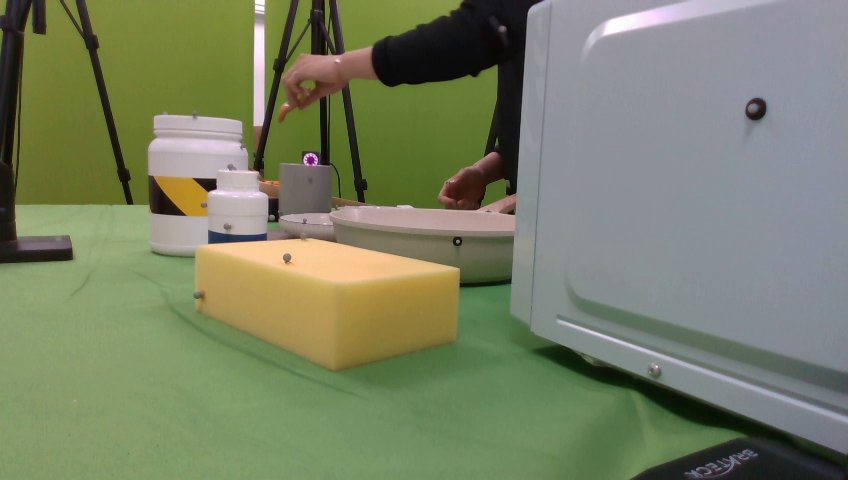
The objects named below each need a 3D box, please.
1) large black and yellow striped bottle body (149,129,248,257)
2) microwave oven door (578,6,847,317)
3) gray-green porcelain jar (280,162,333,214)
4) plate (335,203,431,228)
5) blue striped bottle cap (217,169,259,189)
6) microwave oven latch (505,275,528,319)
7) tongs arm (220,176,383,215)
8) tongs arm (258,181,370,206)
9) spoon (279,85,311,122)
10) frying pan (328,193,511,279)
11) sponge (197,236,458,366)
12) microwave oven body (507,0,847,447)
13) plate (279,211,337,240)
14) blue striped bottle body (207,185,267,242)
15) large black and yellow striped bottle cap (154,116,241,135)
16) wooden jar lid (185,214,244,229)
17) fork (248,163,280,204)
[{"bbox_3d":[-0.315,-0.075,0.854,0.131,0.184,0.130,1,8,0],"label":"large black and yellow striped bottle body"},{"bbox_3d":[0.294,-0.067,0.570,0.358,0.243,0.039,-3,9,-31],"label":"microwave oven door"},{"bbox_3d":[-0.238,-0.092,1.221,0.106,0.126,0.106,2,7,0],"label":"gray-green porcelain jar"},{"bbox_3d":[-0.089,-0.053,1.309,0.208,0.039,0.207,2,8,0],"label":"plate"},{"bbox_3d":[-0.202,-0.067,0.657,0.044,0.020,0.044,0,10,0],"label":"blue striped bottle cap"},{"bbox_3d":[0.100,0.041,0.471,0.079,0.029,0.030,-1,7,-28],"label":"microwave oven latch"},{"bbox_3d":[-0.285,-0.104,1.445,0.389,0.027,0.028,9,-4,-23],"label":"tongs arm"},{"bbox_3d":[-0.241,-0.095,1.373,0.387,0.026,0.050,9,0,-37],"label":"tongs arm"},{"bbox_3d":[-0.238,-0.255,1.123,0.022,0.041,0.193,27,-16,-26],"label":"spoon"},{"bbox_3d":[0.071,-0.030,0.883,0.305,0.102,0.490,7,17,28],"label":"frying pan"},{"bbox_3d":[-0.087,0.039,0.500,0.206,0.061,0.119,8,9,44],"label":"sponge"},{"bbox_3d":[0.331,-0.042,0.425,0.444,0.260,0.324,-2,8,-31],"label":"microwave oven body"},{"bbox_3d":[-0.139,-0.022,1.021,0.209,0.038,0.209,2,8,0],"label":"plate"},{"bbox_3d":[-0.204,-0.016,0.663,0.063,0.120,0.063,2,7,0],"label":"blue striped bottle body"},{"bbox_3d":[-0.314,-0.158,0.843,0.115,0.019,0.115,3,7,0],"label":"large black and yellow striped bottle cap"},{"bbox_3d":[-0.404,-0.037,1.169,0.108,0.020,0.108,3,7,0],"label":"wooden jar lid"},{"bbox_3d":[-0.396,-0.143,1.486,0.028,0.018,0.208,21,-25,45],"label":"fork"}]
